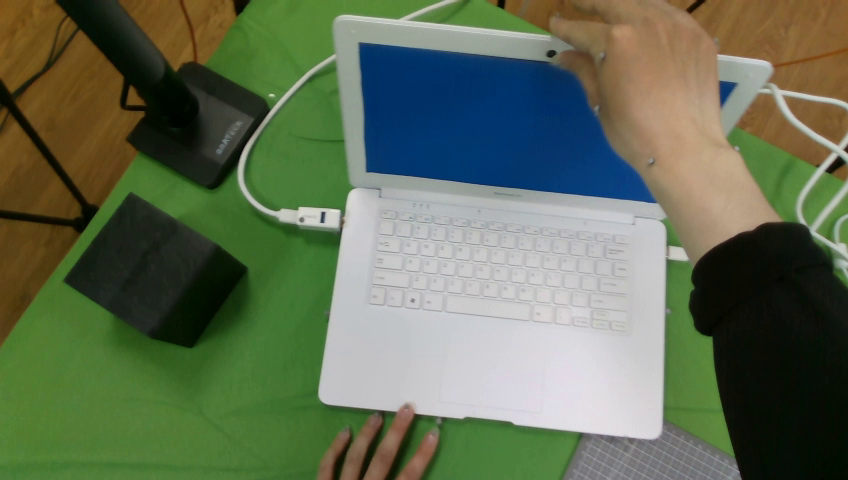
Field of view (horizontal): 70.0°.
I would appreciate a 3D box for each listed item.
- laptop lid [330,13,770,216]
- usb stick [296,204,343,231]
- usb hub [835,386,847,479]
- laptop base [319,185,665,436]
[{"bbox_3d":[0.095,-0.102,0.572,0.357,0.243,0.013,5,60,1],"label":"laptop lid"},{"bbox_3d":[-0.106,-0.023,0.653,0.059,0.027,0.021,6,79,-5],"label":"usb stick"},{"bbox_3d":[0.451,0.216,0.616,0.049,0.025,0.124,13,76,3],"label":"usb hub"},{"bbox_3d":[0.078,0.071,0.648,0.354,0.023,0.234,6,79,0],"label":"laptop base"}]
